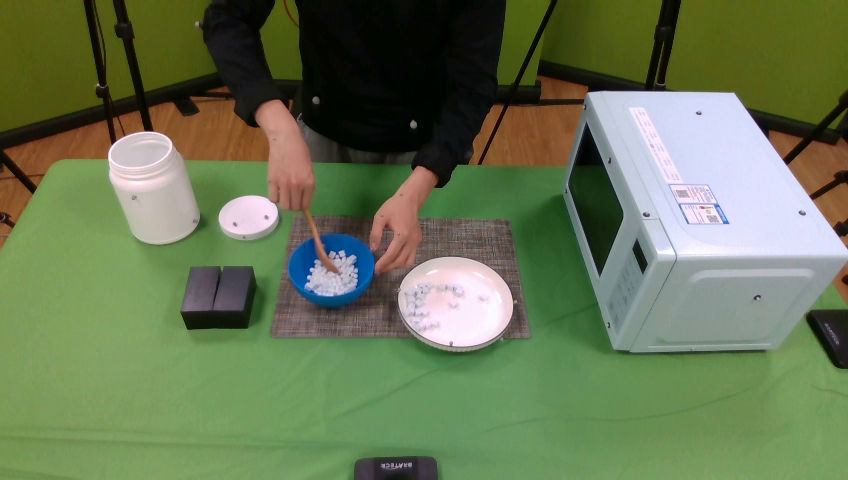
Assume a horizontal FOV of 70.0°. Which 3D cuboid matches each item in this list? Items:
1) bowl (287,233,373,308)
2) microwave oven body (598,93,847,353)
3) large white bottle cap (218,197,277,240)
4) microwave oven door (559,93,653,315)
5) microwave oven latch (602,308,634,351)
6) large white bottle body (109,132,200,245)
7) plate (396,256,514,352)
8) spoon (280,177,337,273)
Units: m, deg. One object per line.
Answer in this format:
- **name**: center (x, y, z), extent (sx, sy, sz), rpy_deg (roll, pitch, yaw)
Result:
- **bowl**: center (-0.165, 0.068, 1.078), extent (0.151, 0.077, 0.150), rpy_deg (3, 45, -3)
- **microwave oven body**: center (0.475, -0.041, 1.109), extent (0.326, 0.261, 0.438), rpy_deg (-1, 45, -4)
- **large white bottle cap**: center (-0.355, -0.045, 1.220), extent (0.115, 0.018, 0.114), rpy_deg (2, 45, -1)
- **microwave oven door**: center (0.327, -0.074, 1.123), extent (0.039, 0.245, 0.353), rpy_deg (-1, 46, -5)
- **microwave oven latch**: center (0.332, 0.153, 1.044), extent (0.030, 0.029, 0.078), rpy_deg (-1, 45, -4)
- **large white bottle body**: center (-0.506, -0.097, 1.141), extent (0.131, 0.185, 0.130), rpy_deg (2, 46, -2)
- **plate**: center (0.053, 0.116, 1.077), extent (0.209, 0.038, 0.208), rpy_deg (2, 46, -2)
- **spoon**: center (-0.205, -0.025, 1.076), extent (0.021, 0.041, 0.194), rpy_deg (-27, 94, -24)
